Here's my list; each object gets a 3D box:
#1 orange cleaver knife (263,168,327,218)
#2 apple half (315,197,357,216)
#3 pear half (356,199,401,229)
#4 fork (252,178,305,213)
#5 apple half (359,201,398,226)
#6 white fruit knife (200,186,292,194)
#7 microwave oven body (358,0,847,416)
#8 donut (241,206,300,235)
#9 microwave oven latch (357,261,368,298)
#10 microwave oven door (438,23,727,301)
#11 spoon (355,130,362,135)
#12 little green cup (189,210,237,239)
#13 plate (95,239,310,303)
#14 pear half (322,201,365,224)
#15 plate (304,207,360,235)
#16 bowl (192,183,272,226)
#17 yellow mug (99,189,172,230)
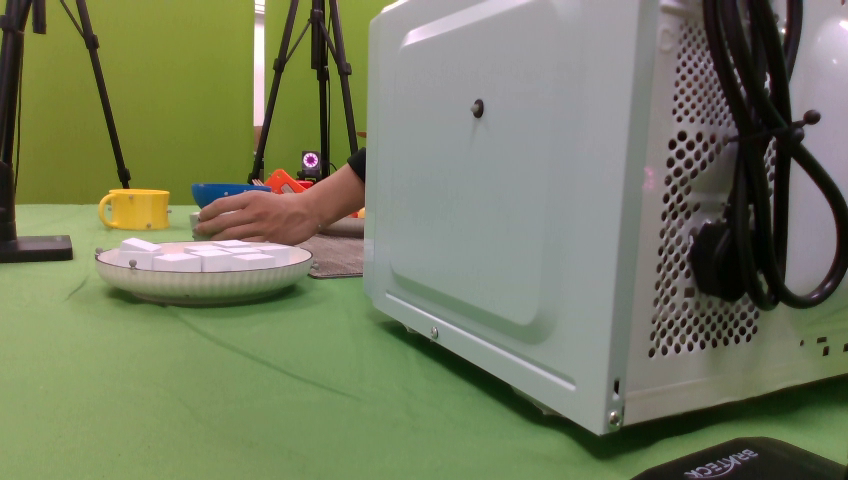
[{"bbox_3d":[-0.262,-0.088,1.353,0.211,0.077,0.012,28,13,-1],"label":"orange cleaver knife"},{"bbox_3d":[-0.162,-0.052,1.121,0.081,0.053,0.074,4,7,-14],"label":"apple half"},{"bbox_3d":[-0.075,-0.046,1.131,0.076,0.056,0.110,12,3,30],"label":"pear half"},{"bbox_3d":[-0.295,-0.084,1.292,0.206,0.018,0.028,29,10,25],"label":"fork"},{"bbox_3d":[-0.088,-0.058,1.190,0.081,0.033,0.081,9,29,-5],"label":"apple half"},{"bbox_3d":[-0.399,-0.111,1.368,0.208,0.016,0.027,-4,-19,-30],"label":"white fruit knife"},{"bbox_3d":[0.211,-0.047,0.474,0.444,0.260,0.324,-1,7,-28],"label":"microwave oven body"},{"bbox_3d":[-0.263,-0.032,1.039,0.099,0.048,0.099,4,10,0],"label":"donut"},{"bbox_3d":[-0.019,0.033,0.530,0.079,0.029,0.030,-1,7,-26],"label":"microwave oven latch"},{"bbox_3d":[0.181,-0.073,0.620,0.358,0.243,0.039,-2,8,-29],"label":"microwave oven door"},{"bbox_3d":[-0.086,-0.256,1.332,0.041,0.021,0.194,5,26,31],"label":"spoon"},{"bbox_3d":[-0.282,-0.019,0.815,0.061,0.038,0.061,-4,9,1],"label":"little green cup"},{"bbox_3d":[-0.224,0.031,0.629,0.208,0.039,0.207,2,8,0],"label":"plate"},{"bbox_3d":[-0.157,-0.059,1.197,0.088,0.031,0.070,12,30,-4],"label":"pear half"},{"bbox_3d":[-0.123,-0.037,1.149,0.209,0.038,0.209,2,7,0],"label":"plate"},{"bbox_3d":[-0.381,-0.071,1.202,0.151,0.077,0.151,3,7,0],"label":"bowl"},{"bbox_3d":[-0.518,-0.055,1.080,0.099,0.064,0.131,6,9,26],"label":"yellow mug"}]
